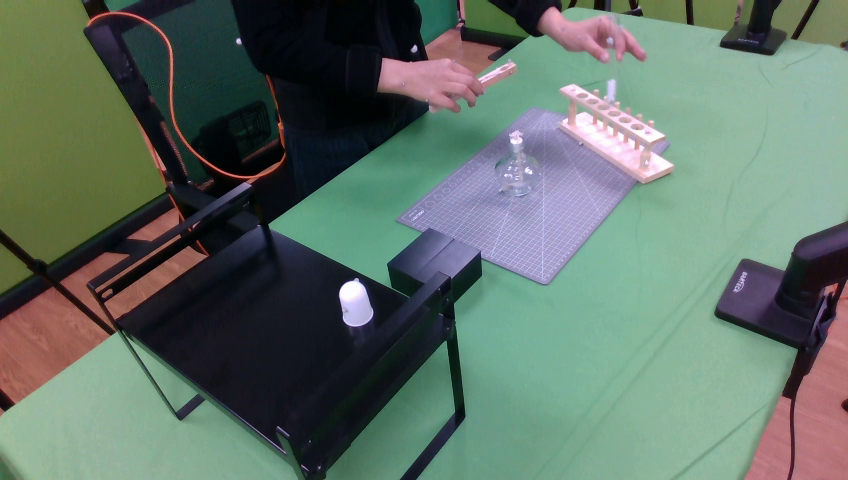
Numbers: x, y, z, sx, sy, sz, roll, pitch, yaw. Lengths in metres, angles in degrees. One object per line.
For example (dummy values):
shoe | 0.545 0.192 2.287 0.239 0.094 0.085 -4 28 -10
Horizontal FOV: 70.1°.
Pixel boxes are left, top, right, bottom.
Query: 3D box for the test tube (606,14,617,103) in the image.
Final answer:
test tube | 0.312 -0.299 1.007 0.017 0.151 0.017 -7 36 5

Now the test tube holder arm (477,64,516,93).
test tube holder arm | 0.125 -0.280 1.049 0.088 0.015 0.010 -32 50 -19

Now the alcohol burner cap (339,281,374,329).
alcohol burner cap | -0.071 0.063 0.617 0.034 0.048 0.033 -4 39 4

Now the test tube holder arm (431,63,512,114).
test tube holder arm | 0.085 -0.260 1.038 0.179 0.015 0.013 -32 50 -19

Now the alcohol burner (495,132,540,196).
alcohol burner | 0.160 -0.135 1.035 0.078 0.119 0.077 -5 42 5

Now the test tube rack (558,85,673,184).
test tube rack | 0.347 -0.203 1.109 0.067 0.085 0.240 -22 42 -17
